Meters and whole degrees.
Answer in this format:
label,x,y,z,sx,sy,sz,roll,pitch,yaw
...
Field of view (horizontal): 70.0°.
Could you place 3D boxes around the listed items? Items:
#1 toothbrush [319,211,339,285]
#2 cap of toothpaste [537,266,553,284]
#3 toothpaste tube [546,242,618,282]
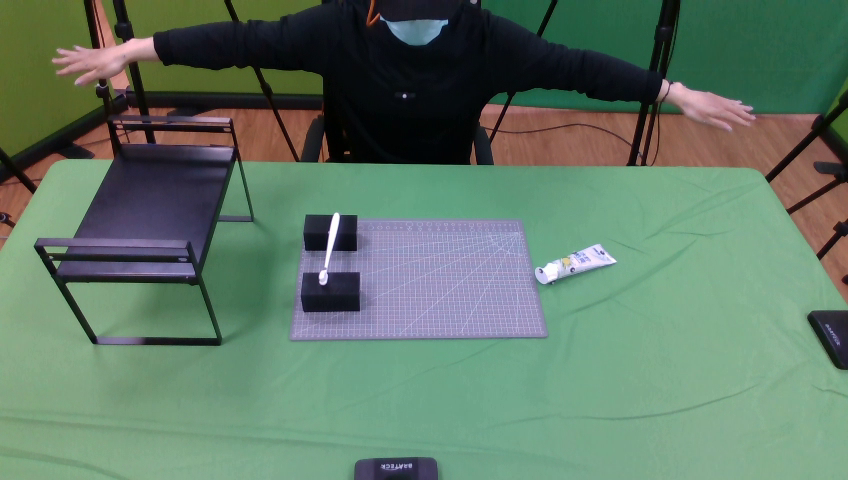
label,x,y,z,sx,sy,sz,roll,pitch,yaw
toothbrush,-0.172,0.009,1.103,0.014,0.017,0.180,-7,44,10
cap of toothpaste,0.227,0.064,1.136,0.011,0.037,0.037,-27,54,-26
toothpaste tube,0.298,0.043,1.169,0.165,0.034,0.054,-18,56,-25
